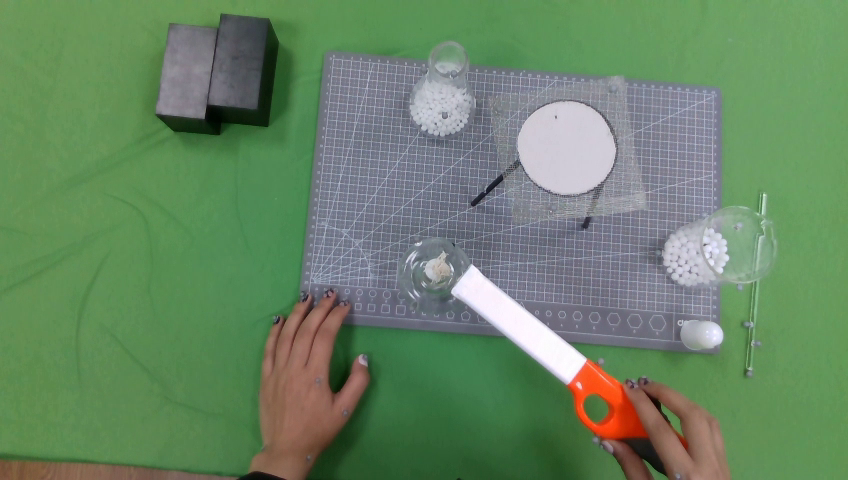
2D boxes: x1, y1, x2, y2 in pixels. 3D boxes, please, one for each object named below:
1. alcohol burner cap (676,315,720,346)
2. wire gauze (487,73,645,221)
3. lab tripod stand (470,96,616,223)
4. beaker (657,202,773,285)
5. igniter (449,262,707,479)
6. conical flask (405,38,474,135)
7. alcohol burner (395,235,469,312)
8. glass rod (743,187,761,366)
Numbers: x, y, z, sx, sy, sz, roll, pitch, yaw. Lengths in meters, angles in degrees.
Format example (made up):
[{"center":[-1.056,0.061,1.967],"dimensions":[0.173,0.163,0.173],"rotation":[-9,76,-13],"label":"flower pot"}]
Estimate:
[{"center":[0.288,0.094,0.631],"dimensions":[0.034,0.048,0.033],"rotation":[0,81,-3],"label":"alcohol burner cap"},{"center":[0.125,-0.081,0.533],"dimensions":[0.125,0.011,0.121],"rotation":[-8,83,-3],"label":"wire gauze"},{"center":[0.122,-0.074,0.600],"dimensions":[0.148,0.131,0.148],"rotation":[0,84,-2],"label":"lab tripod stand"},{"center":[0.291,0.006,0.614],"dimensions":[0.084,0.100,0.074],"rotation":[-32,84,-7],"label":"beaker"},{"center":[0.136,0.119,0.523],"dimensions":[0.276,0.025,0.057],"rotation":[40,86,0],"label":"igniter"},{"center":[0.018,-0.159,0.613],"dimensions":[0.075,0.122,0.075],"rotation":[0,81,-2],"label":"conical flask"},{"center":[0.009,0.030,0.591],"dimensions":[0.078,0.119,0.077],"rotation":[0,80,0],"label":"alcohol burner"},{"center":[0.359,0.038,0.662],"dimensions":[0.008,0.008,0.199],"rotation":[9,81,-2],"label":"glass rod"}]
